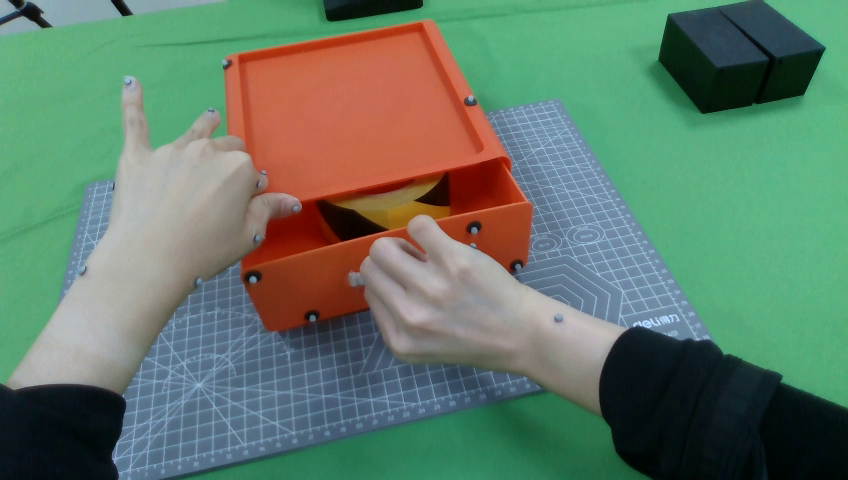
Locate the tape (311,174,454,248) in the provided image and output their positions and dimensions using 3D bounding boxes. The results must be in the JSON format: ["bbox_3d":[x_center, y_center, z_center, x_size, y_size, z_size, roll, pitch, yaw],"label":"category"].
[{"bbox_3d":[-0.035,-0.041,0.480,0.117,0.053,0.115,-3,47,3],"label":"tape"}]

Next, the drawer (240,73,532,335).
[{"bbox_3d":[-0.044,-0.046,0.477,0.195,0.074,0.209,-14,48,-7],"label":"drawer"}]

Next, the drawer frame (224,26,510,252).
[{"bbox_3d":[-0.058,-0.081,0.509,0.202,0.083,0.211,-14,47,-7],"label":"drawer frame"}]
